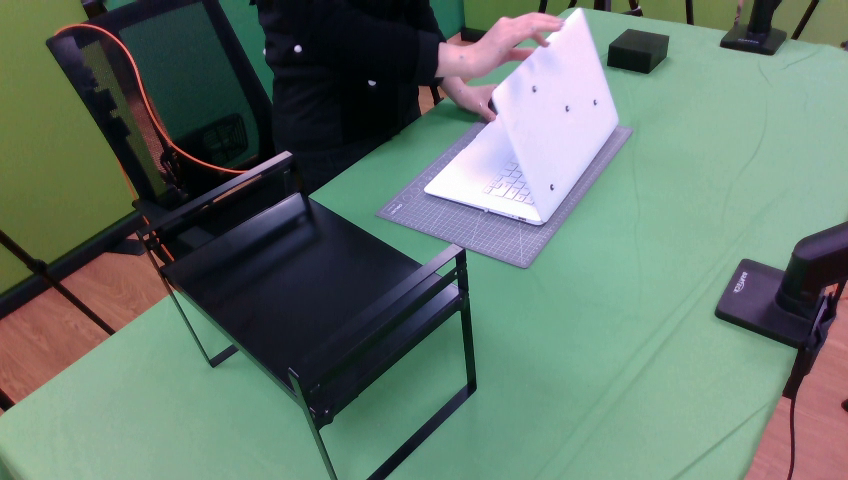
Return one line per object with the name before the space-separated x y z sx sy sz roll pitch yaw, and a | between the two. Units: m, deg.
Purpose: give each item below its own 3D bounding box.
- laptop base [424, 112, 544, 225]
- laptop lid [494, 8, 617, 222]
laptop base | 0.188 -0.156 1.131 0.234 0.023 0.355 16 46 30
laptop lid | 0.239 -0.222 1.021 0.013 0.243 0.357 -1 34 41
